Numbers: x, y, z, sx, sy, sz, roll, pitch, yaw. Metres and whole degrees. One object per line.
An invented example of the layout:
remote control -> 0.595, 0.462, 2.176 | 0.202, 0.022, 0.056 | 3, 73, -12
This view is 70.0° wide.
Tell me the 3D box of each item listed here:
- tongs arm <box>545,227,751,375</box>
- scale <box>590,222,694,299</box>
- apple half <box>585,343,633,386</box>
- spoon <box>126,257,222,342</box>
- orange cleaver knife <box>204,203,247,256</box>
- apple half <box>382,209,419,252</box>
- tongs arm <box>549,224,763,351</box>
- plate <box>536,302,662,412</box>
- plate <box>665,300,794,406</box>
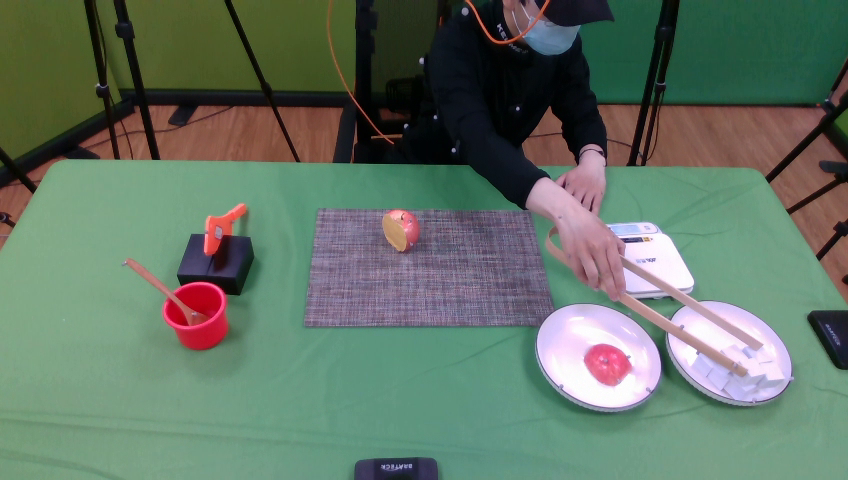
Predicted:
tongs arm -> 0.365, 0.096, 1.018 | 0.383, 0.026, 0.050 | 32, 60, 18
scale -> 0.424, 0.031, 1.189 | 0.149, 0.032, 0.199 | -3, 46, -7
apple half -> 0.309, 0.198, 1.008 | 0.081, 0.033, 0.081 | 4, 48, -4
spoon -> -0.408, 0.096, 0.990 | 0.194, 0.021, 0.041 | 50, 54, -18
orange cleaver knife -> -0.374, -0.024, 1.146 | 0.012, 0.077, 0.211 | 4, 14, 1
apple half -> -0.039, -0.022, 1.175 | 0.053, 0.075, 0.080 | -27, 49, -31
tongs arm -> 0.386, 0.075, 1.034 | 0.386, 0.028, 0.028 | 33, 64, 18
plate -> 0.288, 0.197, 1.016 | 0.209, 0.038, 0.208 | 2, 46, -2
plate -> 0.513, 0.194, 1.033 | 0.208, 0.039, 0.206 | 2, 46, -2
